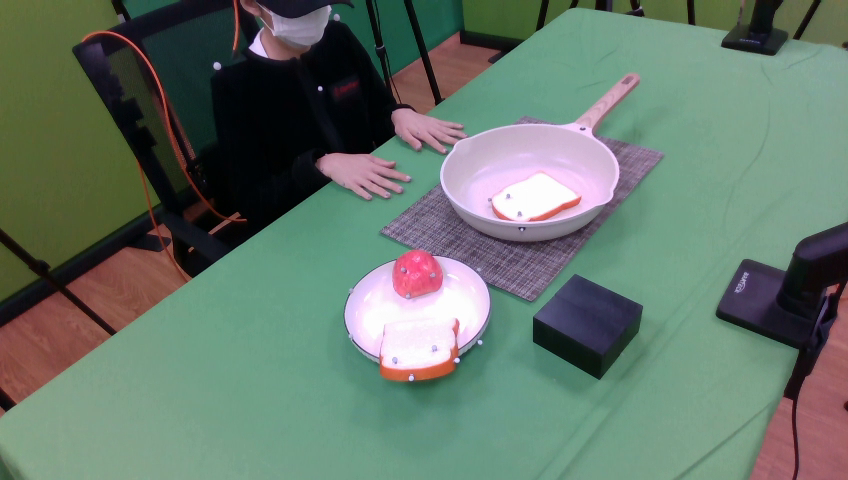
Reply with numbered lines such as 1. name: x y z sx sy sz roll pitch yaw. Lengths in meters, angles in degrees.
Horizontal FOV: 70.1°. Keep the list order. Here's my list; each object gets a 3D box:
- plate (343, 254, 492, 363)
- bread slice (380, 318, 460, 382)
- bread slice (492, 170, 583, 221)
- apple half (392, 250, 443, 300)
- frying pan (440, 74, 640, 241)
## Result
1. plate: -0.008 0.101 0.847 0.207 0.039 0.206 -4 40 4
2. bread slice: -0.005 0.137 0.770 0.105 0.019 0.131 -7 19 4
3. bread slice: 0.183 -0.066 1.016 0.135 0.018 0.106 -28 43 -23
4. apple half: -0.013 0.046 0.884 0.081 0.033 0.081 0 65 1
5. frying pan: 0.245 -0.161 1.059 0.304 0.103 0.489 30 61 35
